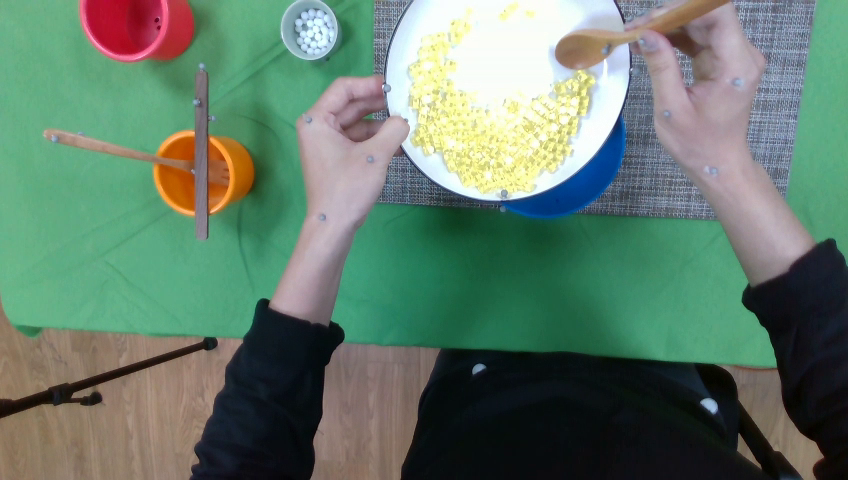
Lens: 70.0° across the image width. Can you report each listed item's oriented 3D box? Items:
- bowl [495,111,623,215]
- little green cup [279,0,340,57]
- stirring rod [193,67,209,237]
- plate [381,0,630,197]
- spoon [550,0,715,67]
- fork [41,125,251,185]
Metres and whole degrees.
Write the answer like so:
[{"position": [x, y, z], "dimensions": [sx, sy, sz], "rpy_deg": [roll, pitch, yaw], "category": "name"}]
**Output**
[{"position": [0.121, -0.106, 0.626], "dimensions": [0.151, 0.076, 0.152], "rpy_deg": [1, 103, 6], "category": "bowl"}, {"position": [-0.120, -0.226, 0.652], "dimensions": [0.061, 0.038, 0.062], "rpy_deg": [1, 102, 7], "category": "little green cup"}, {"position": [-0.233, -0.089, 0.635], "dimensions": [0.014, 0.006, 0.176], "rpy_deg": [5, 103, 4], "category": "stirring rod"}, {"position": [0.066, -0.138, 0.510], "dimensions": [0.209, 0.038, 0.210], "rpy_deg": [-4, 117, -7], "category": "plate"}, {"position": [0.148, -0.151, 0.431], "dimensions": [0.042, 0.192, 0.021], "rpy_deg": [23, 89, -18], "category": "spoon"}, {"position": [-0.285, -0.089, 0.643], "dimensions": [0.209, 0.018, 0.028], "rpy_deg": [10, 110, -40], "category": "fork"}]
